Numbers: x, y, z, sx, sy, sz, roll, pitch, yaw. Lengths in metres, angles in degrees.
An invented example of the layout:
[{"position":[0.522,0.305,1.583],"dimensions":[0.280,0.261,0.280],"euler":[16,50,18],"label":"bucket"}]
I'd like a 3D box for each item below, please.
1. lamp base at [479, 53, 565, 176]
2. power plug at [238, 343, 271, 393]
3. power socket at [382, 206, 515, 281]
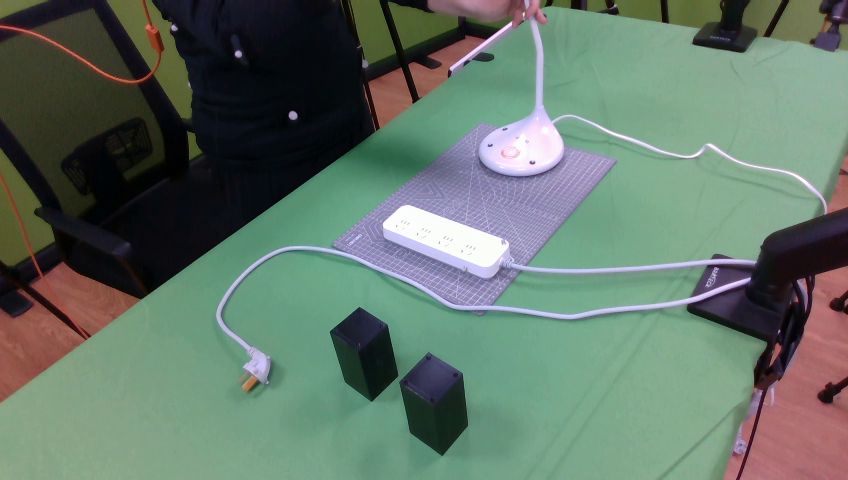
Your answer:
[{"position":[0.181,-0.235,1.093],"dimensions":[0.159,0.181,0.179],"euler":[18,44,27],"label":"lamp base"},{"position":[-0.230,0.172,0.801],"dimensions":[0.072,0.035,0.053],"euler":[8,51,50],"label":"power plug"},{"position":[0.032,0.002,0.950],"dimensions":[0.225,0.033,0.072],"euler":[21,49,29],"label":"power socket"}]
